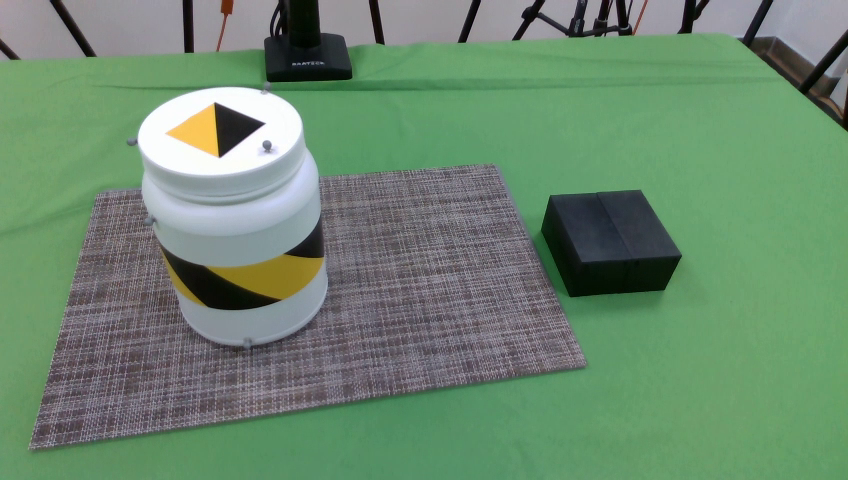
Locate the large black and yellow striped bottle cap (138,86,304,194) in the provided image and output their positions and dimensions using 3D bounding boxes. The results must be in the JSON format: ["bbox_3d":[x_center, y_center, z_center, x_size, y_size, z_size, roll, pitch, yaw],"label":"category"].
[{"bbox_3d":[-0.147,-0.077,0.445,0.115,0.019,0.114,2,44,-2],"label":"large black and yellow striped bottle cap"}]

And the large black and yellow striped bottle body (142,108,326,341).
[{"bbox_3d":[-0.153,-0.018,0.505,0.131,0.185,0.129,3,45,-2],"label":"large black and yellow striped bottle body"}]
